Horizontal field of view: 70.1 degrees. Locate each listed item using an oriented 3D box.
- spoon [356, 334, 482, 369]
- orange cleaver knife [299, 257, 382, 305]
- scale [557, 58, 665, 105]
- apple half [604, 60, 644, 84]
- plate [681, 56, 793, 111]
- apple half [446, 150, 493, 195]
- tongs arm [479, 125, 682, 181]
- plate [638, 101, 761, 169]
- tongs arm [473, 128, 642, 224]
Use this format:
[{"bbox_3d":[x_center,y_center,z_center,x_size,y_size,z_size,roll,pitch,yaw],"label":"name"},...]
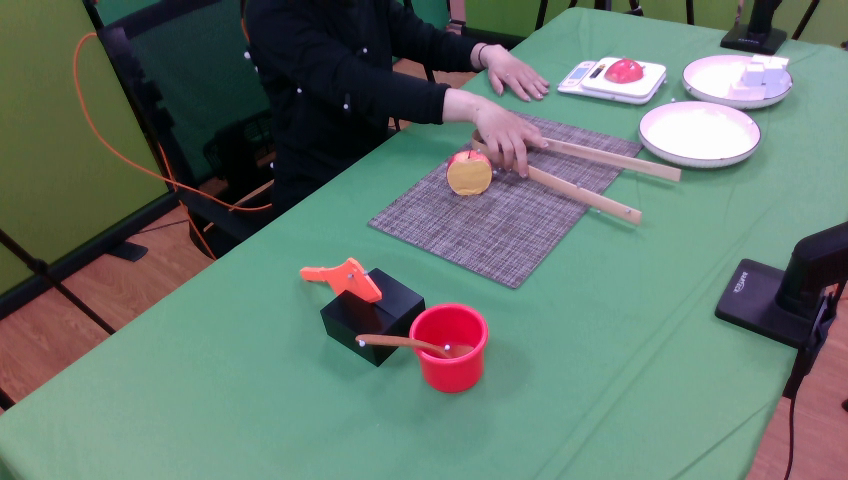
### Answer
[{"bbox_3d":[-0.001,0.130,0.731,0.195,0.021,0.041,21,28,-39],"label":"spoon"},{"bbox_3d":[-0.124,0.061,0.872,0.012,0.077,0.210,-38,17,-29],"label":"orange cleaver knife"},{"bbox_3d":[0.406,-0.348,1.314,0.199,0.032,0.149,19,47,28],"label":"scale"},{"bbox_3d":[0.424,-0.362,1.282,0.081,0.033,0.081,-3,40,3],"label":"apple half"},{"bbox_3d":[0.636,-0.317,1.239,0.207,0.039,0.206,-4,40,4],"label":"plate"},{"bbox_3d":[0.080,-0.124,1.065,0.081,0.075,0.053,-7,36,7],"label":"apple half"},{"bbox_3d":[0.275,-0.163,1.113,0.384,0.028,0.028,19,53,29],"label":"tongs arm"},{"bbox_3d":[0.500,-0.189,1.111,0.209,0.038,0.208,-4,41,4],"label":"plate"},{"bbox_3d":[0.223,-0.122,1.073,0.051,0.026,0.381,-37,48,-27],"label":"tongs arm"}]
